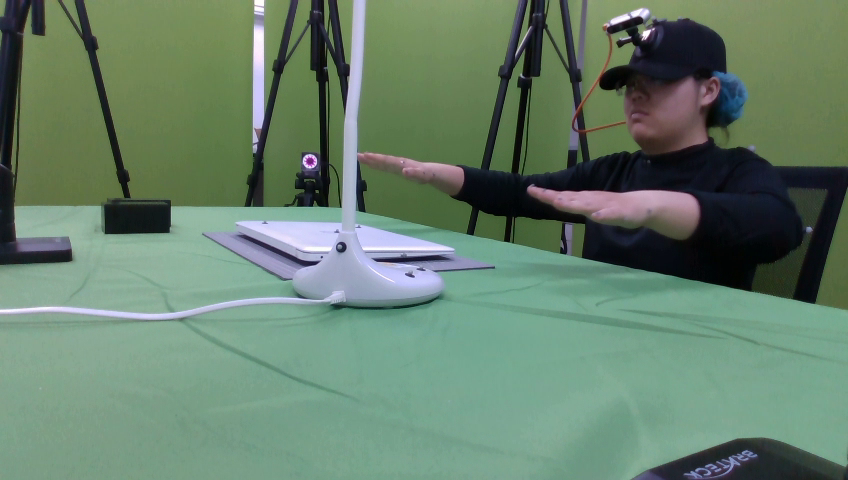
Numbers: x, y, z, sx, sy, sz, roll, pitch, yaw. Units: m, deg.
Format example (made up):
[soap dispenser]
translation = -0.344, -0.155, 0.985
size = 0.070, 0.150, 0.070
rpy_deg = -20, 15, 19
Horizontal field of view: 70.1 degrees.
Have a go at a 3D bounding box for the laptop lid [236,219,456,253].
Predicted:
[laptop lid]
translation = -0.139, -0.009, 0.959
size = 0.243, 0.013, 0.355
rpy_deg = 1, 7, -30

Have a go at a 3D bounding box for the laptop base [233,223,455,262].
[laptop base]
translation = -0.142, 0.003, 0.959
size = 0.237, 0.023, 0.352
rpy_deg = 2, 6, -32

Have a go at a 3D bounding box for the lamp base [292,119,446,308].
[lamp base]
translation = -0.056, -0.030, 0.616
size = 0.160, 0.180, 0.179
rpy_deg = 3, 10, 8
